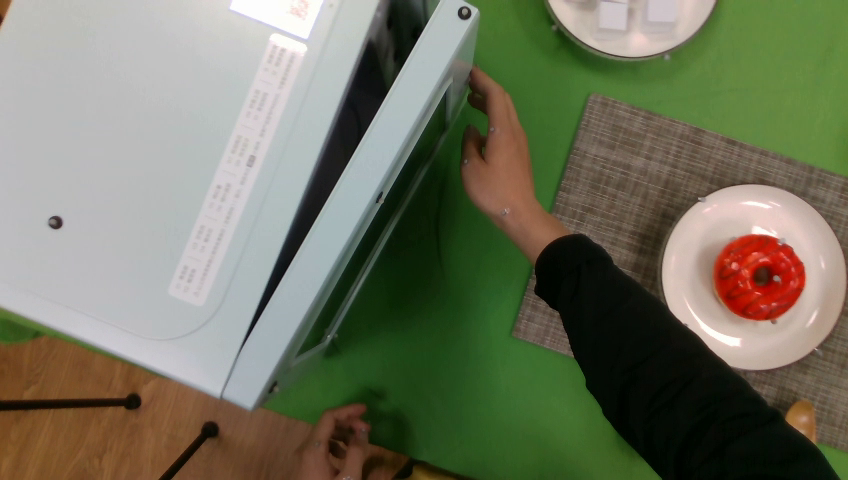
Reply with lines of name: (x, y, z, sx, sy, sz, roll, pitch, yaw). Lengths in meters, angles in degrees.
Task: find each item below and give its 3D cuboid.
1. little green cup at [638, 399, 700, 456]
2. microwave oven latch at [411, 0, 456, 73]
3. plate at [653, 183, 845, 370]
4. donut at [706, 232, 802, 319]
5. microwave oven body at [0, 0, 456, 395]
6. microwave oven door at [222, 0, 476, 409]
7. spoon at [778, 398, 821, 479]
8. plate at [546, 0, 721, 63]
little green cup: (0.273, 0.209, 0.683, 0.061, 0.038, 0.061, 0, 86, 0)
microwave oven latch: (0.011, -0.232, 0.684, 0.030, 0.029, 0.079, 25, 89, 1)
plate: (0.361, 0.040, 0.685, 0.209, 0.038, 0.209, 0, 88, 1)
donut: (0.366, 0.039, 0.674, 0.099, 0.048, 0.099, 0, 89, 3)
microwave oven body: (-0.195, -0.128, 0.587, 0.326, 0.260, 0.441, 22, 89, 1)
microwave oven door: (-0.057, -0.024, 0.576, 0.039, 0.244, 0.355, 29, 88, 3)
spoon: (0.440, 0.271, 0.685, 0.042, 0.021, 0.193, -18, 89, -15)
plate: (0.239, -0.305, 0.704, 0.208, 0.039, 0.207, 0, 88, 1)
